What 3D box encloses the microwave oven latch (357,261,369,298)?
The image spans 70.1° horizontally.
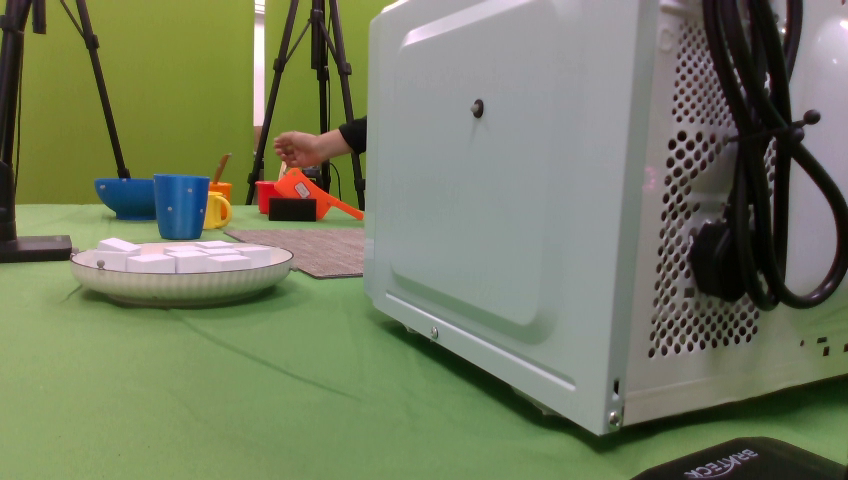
[{"bbox_3d":[-0.019,0.033,0.530,0.079,0.029,0.030,0,7,-25],"label":"microwave oven latch"}]

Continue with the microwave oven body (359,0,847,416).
[{"bbox_3d":[0.211,-0.047,0.474,0.444,0.260,0.324,-1,7,-28],"label":"microwave oven body"}]

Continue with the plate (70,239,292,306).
[{"bbox_3d":[-0.242,0.031,0.618,0.208,0.039,0.207,2,8,0],"label":"plate"}]

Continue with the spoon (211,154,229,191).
[{"bbox_3d":[-0.431,-0.115,1.253,0.042,0.193,0.021,-3,54,-33],"label":"spoon"}]

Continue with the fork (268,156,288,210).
[{"bbox_3d":[-0.360,-0.144,1.507,0.028,0.018,0.207,0,49,1],"label":"fork"}]

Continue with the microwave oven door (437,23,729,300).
[{"bbox_3d":[0.181,-0.072,0.621,0.358,0.243,0.039,-2,9,-29],"label":"microwave oven door"}]

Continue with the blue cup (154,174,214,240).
[{"bbox_3d":[-0.390,-0.053,0.978,0.093,0.100,0.092,3,6,0],"label":"blue cup"}]

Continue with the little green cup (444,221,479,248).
[{"bbox_3d":[0.064,-0.009,1.036,0.061,0.038,0.061,3,11,0],"label":"little green cup"}]

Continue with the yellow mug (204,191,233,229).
[{"bbox_3d":[-0.415,-0.057,1.132,0.130,0.064,0.100,6,8,16],"label":"yellow mug"}]

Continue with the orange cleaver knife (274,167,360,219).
[{"bbox_3d":[-0.238,-0.091,1.381,0.212,0.077,0.012,31,0,-19],"label":"orange cleaver knife"}]

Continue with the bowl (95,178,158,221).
[{"bbox_3d":[-0.576,-0.081,1.217,0.151,0.077,0.151,3,8,0],"label":"bowl"}]
